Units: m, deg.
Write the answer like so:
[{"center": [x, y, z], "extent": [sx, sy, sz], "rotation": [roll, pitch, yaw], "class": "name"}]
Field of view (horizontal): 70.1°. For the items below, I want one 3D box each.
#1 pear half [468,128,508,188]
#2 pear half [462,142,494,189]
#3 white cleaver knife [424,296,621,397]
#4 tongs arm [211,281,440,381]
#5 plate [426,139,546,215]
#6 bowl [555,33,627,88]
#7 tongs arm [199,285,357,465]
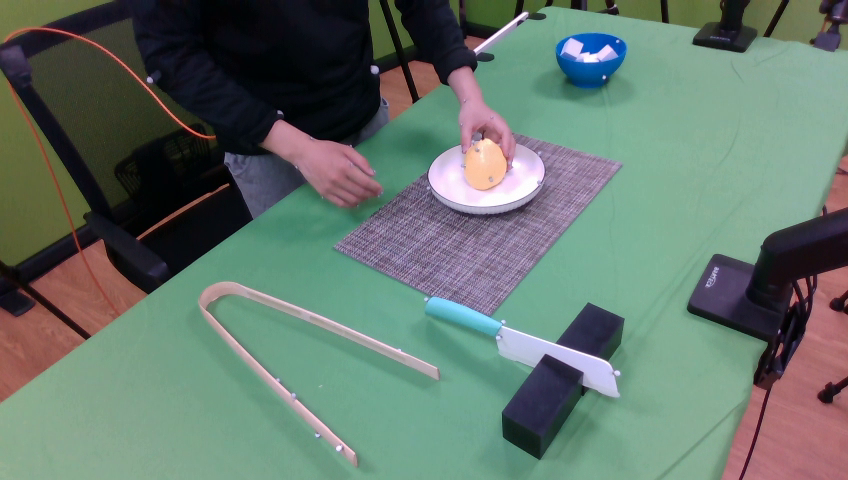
[{"center": [0.112, -0.148, 1.037], "extent": [0.076, 0.110, 0.056], "rotation": [33, 54, 31], "class": "pear half"}, {"center": [0.086, -0.123, 1.026], "extent": [0.070, 0.088, 0.031], "rotation": [32, 52, 30], "class": "pear half"}, {"center": [0.110, 0.132, 0.761], "extent": [0.284, 0.066, 0.021], "rotation": [17, 42, 39], "class": "white cleaver knife"}, {"center": [-0.148, 0.121, 0.845], "extent": [0.385, 0.028, 0.028], "rotation": [17, 48, 25], "class": "tongs arm"}, {"center": [0.109, -0.107, 1.058], "extent": [0.207, 0.039, 0.206], "rotation": [-4, 41, 4], "class": "plate"}, {"center": [0.360, -0.384, 1.317], "extent": [0.151, 0.077, 0.150], "rotation": [-4, 41, 4], "class": "bowl"}, {"center": [-0.199, 0.162, 0.797], "extent": [0.381, 0.026, 0.051], "rotation": [28, 50, 35], "class": "tongs arm"}]
